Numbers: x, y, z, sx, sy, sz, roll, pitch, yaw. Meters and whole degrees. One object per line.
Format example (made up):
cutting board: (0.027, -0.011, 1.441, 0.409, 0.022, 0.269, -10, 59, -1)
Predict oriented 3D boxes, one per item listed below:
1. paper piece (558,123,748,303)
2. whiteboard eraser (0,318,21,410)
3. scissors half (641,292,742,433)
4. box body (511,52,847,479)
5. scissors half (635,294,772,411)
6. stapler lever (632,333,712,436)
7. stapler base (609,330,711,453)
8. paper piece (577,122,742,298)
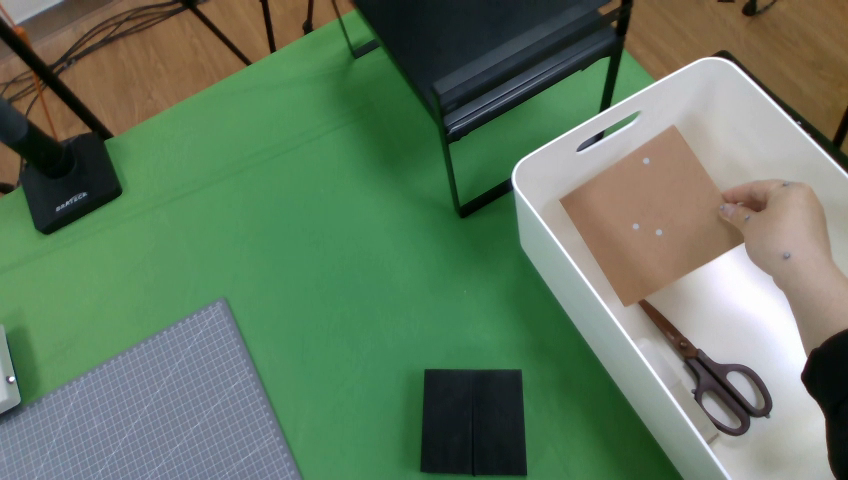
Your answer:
paper piece: (0.224, -0.026, 0.611, 0.135, 0.004, 0.135, -35, 72, 26)
whiteboard eraser: (-0.520, 0.150, 0.721, 0.055, 0.042, 0.111, -30, 67, -4)
scissors half: (0.269, 0.120, 0.635, 0.040, 0.013, 0.173, -23, 61, -1)
box body: (0.281, 0.034, 0.594, 0.254, 0.161, 0.361, -30, 67, -5)
scissors half: (0.287, 0.109, 0.638, 0.040, 0.013, 0.173, -40, 64, -16)
stapler lever: (0.241, 0.145, 0.598, 0.027, 0.040, 0.117, -31, 74, -2)
stapler base: (0.243, 0.152, 0.623, 0.041, 0.024, 0.129, -31, 74, -2)
paper piece: (0.234, -0.029, 0.628, 0.009, 0.136, 0.137, -2, 62, -39)
